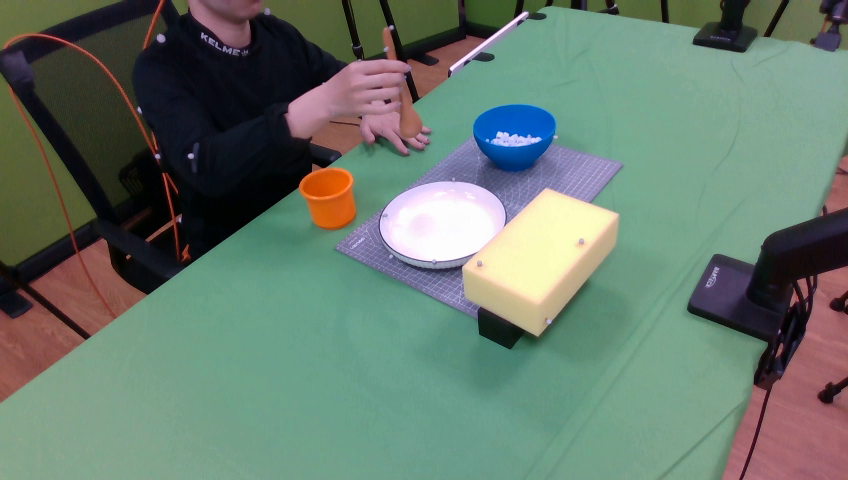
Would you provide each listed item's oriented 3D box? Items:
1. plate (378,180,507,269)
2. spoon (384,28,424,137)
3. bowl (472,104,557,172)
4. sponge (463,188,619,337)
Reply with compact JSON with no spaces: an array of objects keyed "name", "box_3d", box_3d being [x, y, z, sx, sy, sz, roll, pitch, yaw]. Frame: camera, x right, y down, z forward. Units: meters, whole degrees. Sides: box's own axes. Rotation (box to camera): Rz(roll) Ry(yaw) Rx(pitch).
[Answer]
[{"name":"plate","box_3d":[0.031,-0.022,0.974,0.209,0.038,0.208,-4,40,4]},{"name":"spoon","box_3d":[-0.037,-0.244,0.961,0.042,0.195,0.021,-21,39,-5]},{"name":"bowl","box_3d":[0.165,-0.178,1.105,0.151,0.077,0.150,-4,40,4]},{"name":"sponge","box_3d":[0.160,0.022,0.814,0.117,0.061,0.207,24,50,32]}]
